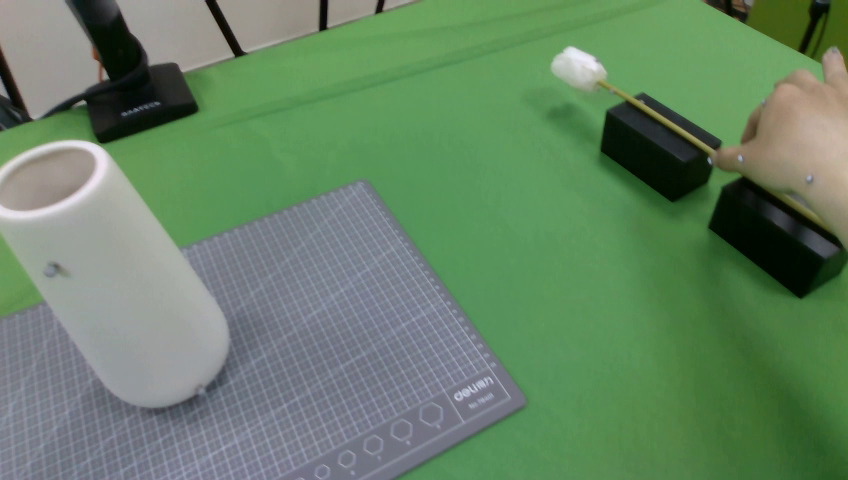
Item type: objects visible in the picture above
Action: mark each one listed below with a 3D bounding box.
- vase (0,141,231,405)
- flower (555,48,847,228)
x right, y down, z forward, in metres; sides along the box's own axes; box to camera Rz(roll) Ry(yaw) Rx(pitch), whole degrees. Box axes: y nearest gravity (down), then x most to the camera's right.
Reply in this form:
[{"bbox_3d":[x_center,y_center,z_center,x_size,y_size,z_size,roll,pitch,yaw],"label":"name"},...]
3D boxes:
[{"bbox_3d":[-0.206,0.030,0.419,0.098,0.202,0.097,-3,46,4],"label":"vase"},{"bbox_3d":[0.247,-0.099,0.561,0.044,0.038,0.357,-11,40,-29],"label":"flower"}]
